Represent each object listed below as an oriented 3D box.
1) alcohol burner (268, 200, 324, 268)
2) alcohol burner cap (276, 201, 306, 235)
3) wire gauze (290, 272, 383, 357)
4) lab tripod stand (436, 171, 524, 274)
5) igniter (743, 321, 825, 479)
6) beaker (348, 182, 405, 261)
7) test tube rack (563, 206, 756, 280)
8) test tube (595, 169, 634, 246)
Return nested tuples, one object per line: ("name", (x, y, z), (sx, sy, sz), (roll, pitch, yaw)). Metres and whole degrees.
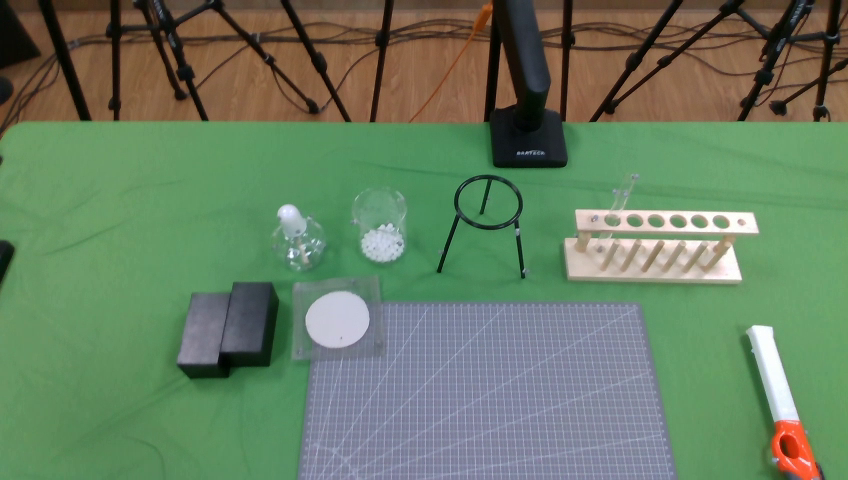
("alcohol burner", (-0.179, -0.013, 0.837), (0.078, 0.120, 0.077), (0, 56, 0))
("alcohol burner cap", (-0.179, -0.032, 0.806), (0.034, 0.048, 0.033), (-2, 62, 5))
("wire gauze", (-0.121, 0.100, 0.825), (0.125, 0.011, 0.120), (-5, 57, -3))
("lab tripod stand", (0.081, -0.023, 0.836), (0.148, 0.132, 0.147), (-1, 57, 1))
("igniter", (0.445, 0.229, 0.744), (0.057, 0.025, 0.274), (7, 57, -9))
("beaker", (-0.061, -0.020, 0.852), (0.074, 0.101, 0.083), (-27, 63, -16))
("test tube rack", (0.326, 0.005, 0.849), (0.242, 0.086, 0.066), (1, 58, 0))
("test tube", (0.255, -0.040, 0.818), (0.017, 0.151, 0.017), (1, 54, 0))
